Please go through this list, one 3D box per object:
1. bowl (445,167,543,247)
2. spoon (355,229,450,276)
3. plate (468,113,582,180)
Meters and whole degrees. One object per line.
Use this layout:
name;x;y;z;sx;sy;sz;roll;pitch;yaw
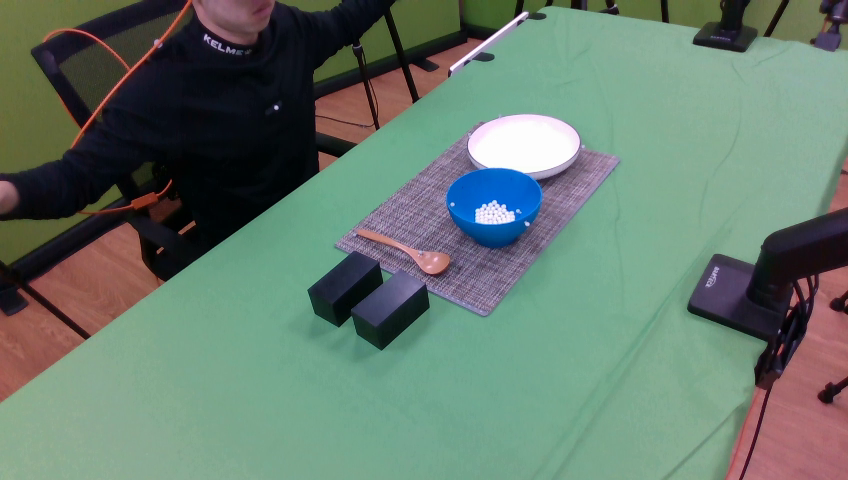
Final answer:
bowl;0.111;-0.041;0.952;0.151;0.077;0.150;-4;41;4
spoon;-0.038;0.013;0.953;0.192;0.022;0.041;24;67;31
plate;0.186;-0.169;1.122;0.207;0.039;0.206;-4;40;4
